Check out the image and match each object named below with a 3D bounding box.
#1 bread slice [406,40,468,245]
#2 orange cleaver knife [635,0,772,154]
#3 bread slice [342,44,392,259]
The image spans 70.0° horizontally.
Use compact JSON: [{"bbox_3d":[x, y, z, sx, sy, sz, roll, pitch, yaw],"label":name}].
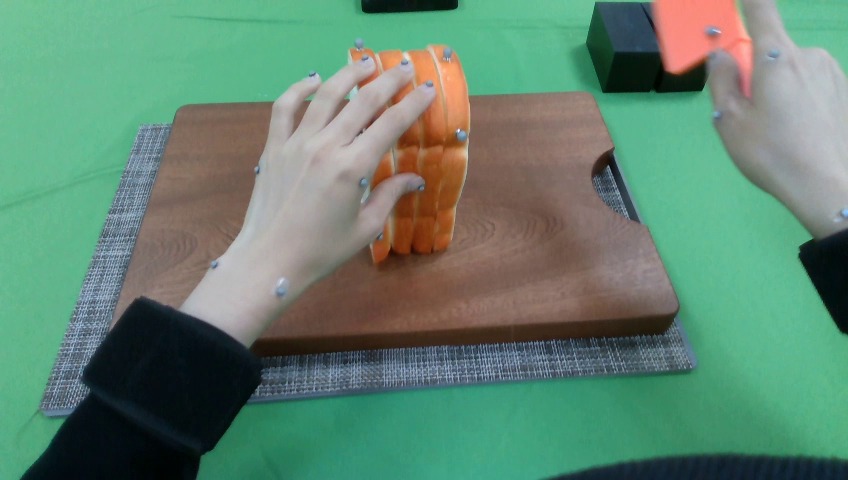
[{"bbox_3d":[0.008,-0.076,0.447,0.019,0.132,0.103,-4,50,-13],"label":"bread slice"},{"bbox_3d":[0.169,-0.146,0.390,0.012,0.077,0.210,-4,76,-23],"label":"orange cleaver knife"},{"bbox_3d":[-0.042,-0.071,0.440,0.018,0.135,0.105,-10,44,-11],"label":"bread slice"}]
